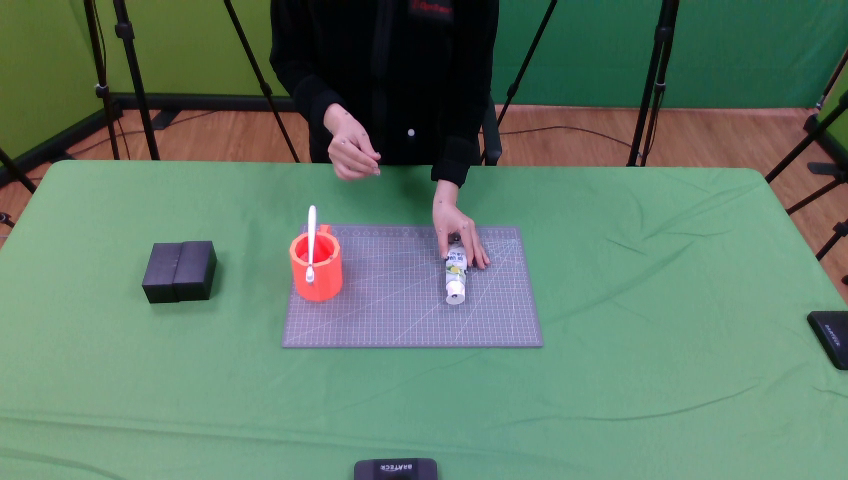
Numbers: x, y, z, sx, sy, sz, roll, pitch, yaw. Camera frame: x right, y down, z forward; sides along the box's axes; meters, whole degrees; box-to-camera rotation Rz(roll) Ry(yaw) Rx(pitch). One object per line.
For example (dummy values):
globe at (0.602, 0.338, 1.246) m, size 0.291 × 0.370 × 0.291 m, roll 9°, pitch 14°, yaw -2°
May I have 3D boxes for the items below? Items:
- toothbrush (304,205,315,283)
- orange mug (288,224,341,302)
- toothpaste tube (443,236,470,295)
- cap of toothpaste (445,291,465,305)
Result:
toothbrush at (-0.199, 0.001, 1.052) m, size 0.014 × 0.017 × 0.180 m, roll -4°, pitch 46°, yaw -4°
orange mug at (-0.192, 0.034, 1.094) m, size 0.083 × 0.101 × 0.125 m, roll 7°, pitch 50°, yaw 2°
toothpaste tube at (0.061, 0.048, 1.149) m, size 0.055 × 0.034 × 0.164 m, roll 9°, pitch 43°, yaw -5°
cap of toothpaste at (0.056, 0.103, 1.089) m, size 0.037 × 0.037 × 0.011 m, roll -5°, pitch 51°, yaw -9°
